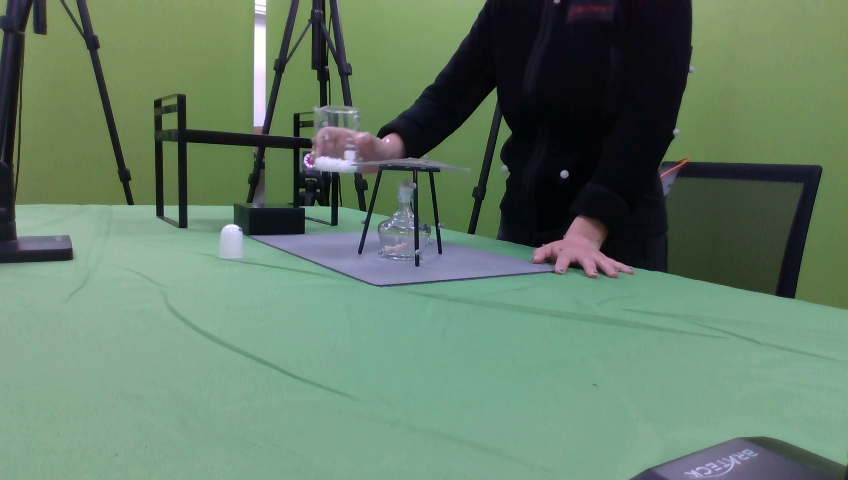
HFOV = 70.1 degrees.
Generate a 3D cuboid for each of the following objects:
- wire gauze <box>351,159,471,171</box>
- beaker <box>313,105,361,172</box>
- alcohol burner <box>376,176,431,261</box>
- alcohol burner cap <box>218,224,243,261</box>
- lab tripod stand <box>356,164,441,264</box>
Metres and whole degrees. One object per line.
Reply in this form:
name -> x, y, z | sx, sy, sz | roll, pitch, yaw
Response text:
wire gauze -> -0.019, -0.106, 0.847 | 0.121, 0.011, 0.126 | 8, 8, 42
beaker -> -0.139, -0.158, 0.946 | 0.073, 0.100, 0.084 | 5, 7, 31
alcohol burner -> -0.028, -0.031, 0.859 | 0.078, 0.119, 0.078 | 2, 9, 0
alcohol burner cap -> -0.263, 0.002, 0.824 | 0.034, 0.048, 0.034 | 5, 9, 0
lab tripod stand -> -0.023, -0.041, 0.859 | 0.148, 0.131, 0.148 | 2, 5, 0
